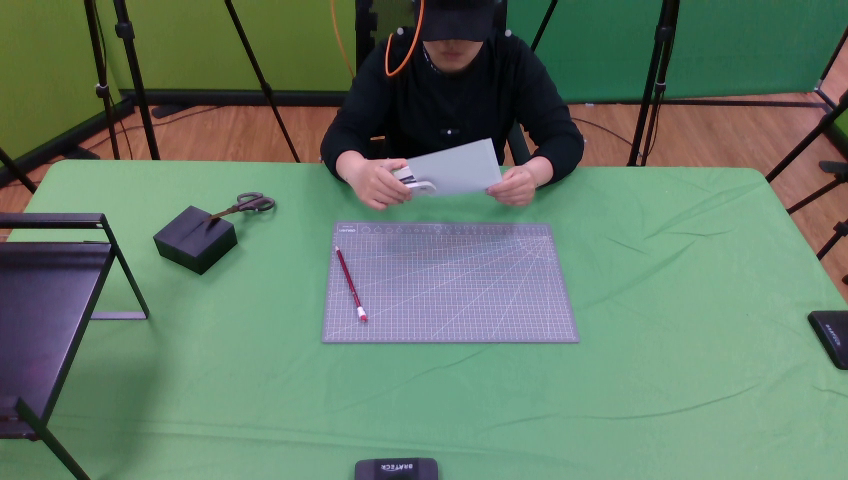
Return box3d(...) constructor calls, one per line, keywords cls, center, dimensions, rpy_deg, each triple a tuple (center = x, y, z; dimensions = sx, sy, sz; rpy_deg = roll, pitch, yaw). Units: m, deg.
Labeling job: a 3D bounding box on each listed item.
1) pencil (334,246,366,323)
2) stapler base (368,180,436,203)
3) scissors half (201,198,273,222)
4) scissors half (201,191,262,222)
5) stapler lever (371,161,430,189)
box3d(cls="pencil", center=(-0.140, 0.077, 1.116), dimensions=(0.012, 0.012, 0.192), rpy_deg=(-14, 48, -17))
box3d(cls="stapler base", center=(-0.042, -0.098, 1.147), dimensions=(0.130, 0.041, 0.024), rpy_deg=(-11, 66, 23))
box3d(cls="scissors half", center=(-0.364, -0.056, 1.192), dimensions=(0.040, 0.013, 0.175), rpy_deg=(38, 32, 22))
box3d(cls="scissors half", center=(-0.381, -0.066, 1.198), dimensions=(0.040, 0.013, 0.175), rpy_deg=(24, 28, 10))
box3d(cls="stapler lever", center=(-0.044, -0.120, 1.155), dimensions=(0.118, 0.027, 0.040), rpy_deg=(-10, 67, 24))
